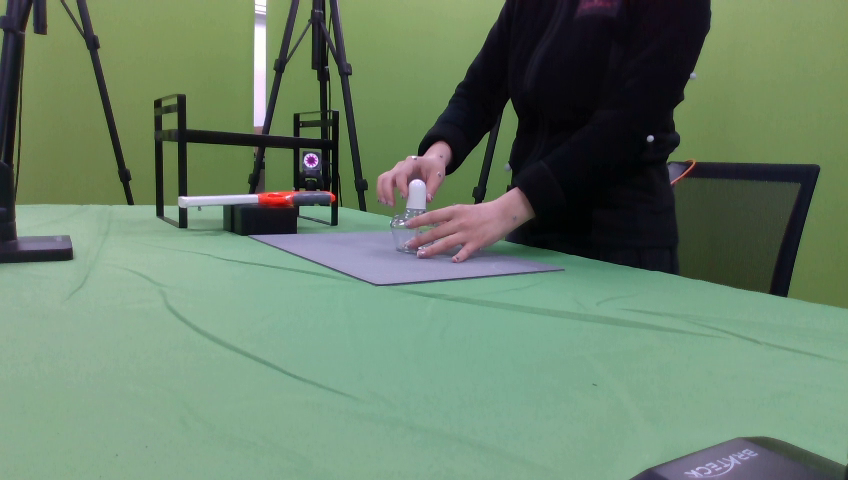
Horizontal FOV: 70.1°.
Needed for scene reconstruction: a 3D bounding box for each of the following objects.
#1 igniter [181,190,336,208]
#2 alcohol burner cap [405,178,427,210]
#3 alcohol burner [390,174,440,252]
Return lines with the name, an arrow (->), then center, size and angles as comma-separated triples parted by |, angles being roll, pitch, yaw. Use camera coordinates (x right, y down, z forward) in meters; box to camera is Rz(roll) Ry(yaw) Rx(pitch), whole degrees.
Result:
igniter -> -0.294, -0.076, 1.103 | 0.278, 0.025, 0.057 | -5, 12, -33
alcohol burner cap -> -0.012, -0.072, 0.928 | 0.034, 0.048, 0.034 | 2, 10, 0
alcohol burner -> -0.013, -0.041, 0.930 | 0.078, 0.119, 0.078 | 4, 7, 0
